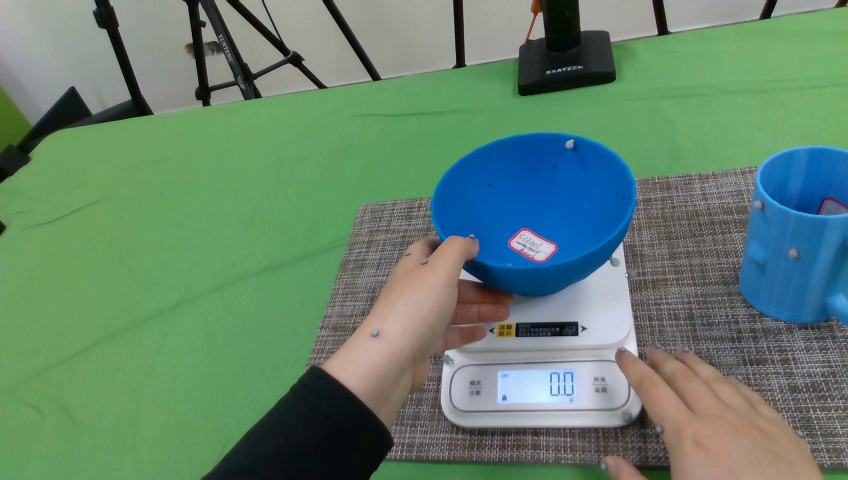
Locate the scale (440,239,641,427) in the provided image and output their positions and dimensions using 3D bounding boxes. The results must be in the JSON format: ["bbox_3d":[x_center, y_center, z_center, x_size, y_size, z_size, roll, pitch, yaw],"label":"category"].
[{"bbox_3d":[0.093,0.058,0.500,0.148,0.032,0.199,-5,44,15],"label":"scale"}]

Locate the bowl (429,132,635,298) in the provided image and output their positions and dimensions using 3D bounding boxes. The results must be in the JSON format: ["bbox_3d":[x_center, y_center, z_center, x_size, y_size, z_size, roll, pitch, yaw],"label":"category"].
[{"bbox_3d":[0.085,-0.008,0.472,0.151,0.077,0.150,-8,44,9],"label":"bowl"}]

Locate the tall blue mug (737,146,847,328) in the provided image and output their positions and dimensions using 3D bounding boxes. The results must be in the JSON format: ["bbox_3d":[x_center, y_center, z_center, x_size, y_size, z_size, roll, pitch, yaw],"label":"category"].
[{"bbox_3d":[0.285,0.004,0.431,0.078,0.109,0.106,-39,46,-22],"label":"tall blue mug"}]
